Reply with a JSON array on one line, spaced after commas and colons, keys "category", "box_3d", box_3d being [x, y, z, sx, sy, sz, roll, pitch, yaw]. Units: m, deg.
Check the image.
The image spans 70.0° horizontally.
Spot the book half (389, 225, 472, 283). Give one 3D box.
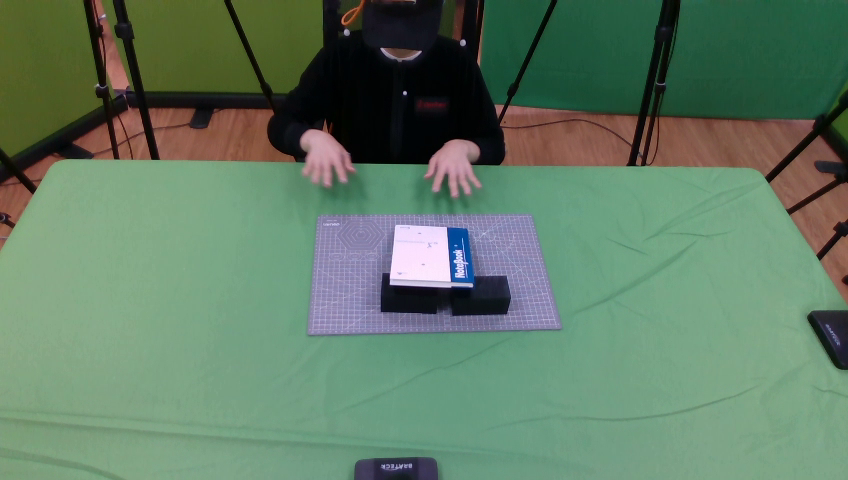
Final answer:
[{"category": "book half", "box_3d": [0.012, 0.022, 1.128, 0.143, 0.007, 0.209, 3, 28, -1]}]
